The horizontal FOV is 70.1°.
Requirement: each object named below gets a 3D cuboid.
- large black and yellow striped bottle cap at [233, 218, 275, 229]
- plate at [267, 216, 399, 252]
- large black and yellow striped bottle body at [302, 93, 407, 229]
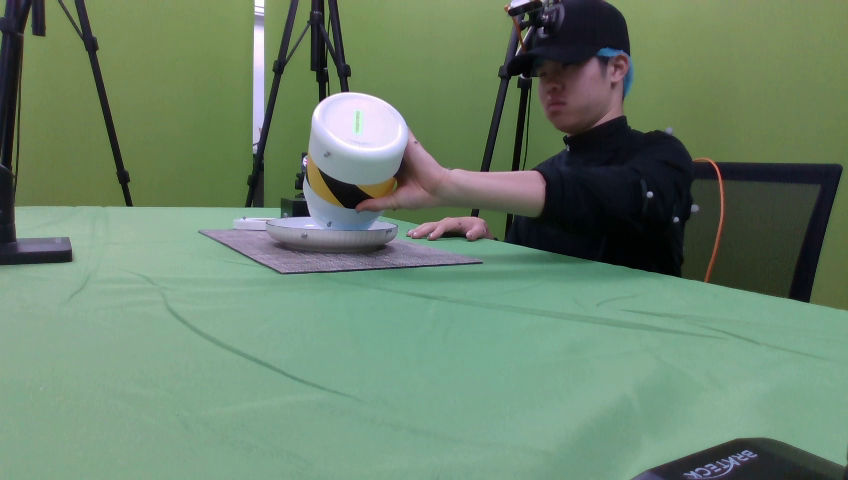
[{"bbox_3d":[-0.311,-0.032,1.172,0.115,0.019,0.115,1,4,0],"label":"large black and yellow striped bottle cap"},{"bbox_3d":[-0.145,-0.010,0.967,0.208,0.039,0.207,2,7,0],"label":"plate"},{"bbox_3d":[-0.106,-0.103,0.874,0.131,0.184,0.130,9,50,-11],"label":"large black and yellow striped bottle body"}]
